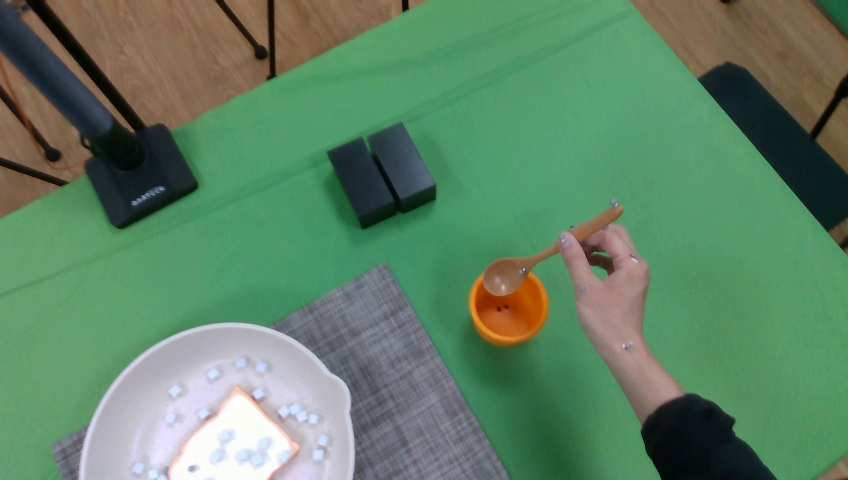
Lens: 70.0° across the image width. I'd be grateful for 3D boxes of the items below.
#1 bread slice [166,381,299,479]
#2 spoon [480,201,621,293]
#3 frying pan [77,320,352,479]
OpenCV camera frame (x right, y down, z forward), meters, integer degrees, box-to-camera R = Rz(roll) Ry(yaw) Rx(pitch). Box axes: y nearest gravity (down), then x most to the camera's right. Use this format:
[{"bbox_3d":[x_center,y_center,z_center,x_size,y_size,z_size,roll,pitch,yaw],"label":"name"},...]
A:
[{"bbox_3d":[-0.224,0.248,0.696,0.106,0.018,0.134,37,74,11],"label":"bread slice"},{"bbox_3d":[0.124,0.010,0.619,0.021,0.194,0.041,-34,89,-41],"label":"spoon"},{"bbox_3d":[-0.175,0.319,0.631,0.307,0.103,0.483,-26,65,-7],"label":"frying pan"}]
